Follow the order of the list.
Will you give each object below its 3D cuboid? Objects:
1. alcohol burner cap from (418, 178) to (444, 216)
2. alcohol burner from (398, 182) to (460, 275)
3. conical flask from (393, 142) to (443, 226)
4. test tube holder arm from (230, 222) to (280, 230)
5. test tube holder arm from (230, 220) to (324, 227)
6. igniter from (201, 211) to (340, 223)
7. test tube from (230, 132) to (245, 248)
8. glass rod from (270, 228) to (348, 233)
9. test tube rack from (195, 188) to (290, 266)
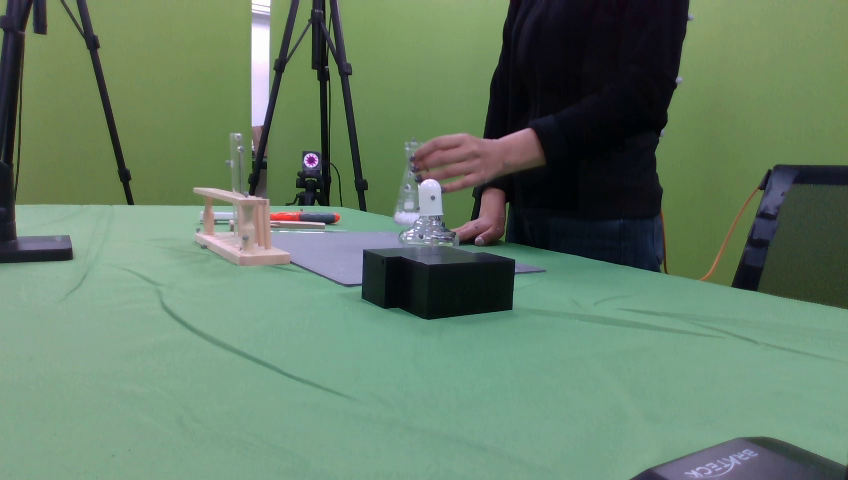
[{"bbox_3d":[0.007,-0.053,0.745,0.034,0.048,0.034,-3,6,1],"label":"alcohol burner cap"},{"bbox_3d":[0.007,-0.017,0.751,0.078,0.119,0.078,3,10,0],"label":"alcohol burner"},{"bbox_3d":[-0.010,-0.084,0.897,0.075,0.122,0.075,0,9,0],"label":"conical flask"},{"bbox_3d":[-0.312,-0.025,1.118,0.088,0.015,0.010,-1,44,-30],"label":"test tube holder arm"},{"bbox_3d":[-0.275,-0.030,1.145,0.179,0.015,0.013,-2,45,-31],"label":"test tube holder arm"},{"bbox_3d":[-0.311,-0.047,1.243,0.278,0.025,0.057,-1,-2,-24],"label":"igniter"},{"bbox_3d":[-0.242,-0.065,0.789,0.017,0.150,0.017,0,7,0],"label":"test tube"},{"bbox_3d":[-0.234,-0.017,1.105,0.201,0.008,0.008,1,7,-26],"label":"glass rod"},{"bbox_3d":[-0.266,-0.025,0.864,0.067,0.085,0.241,-2,9,-33],"label":"test tube rack"}]
